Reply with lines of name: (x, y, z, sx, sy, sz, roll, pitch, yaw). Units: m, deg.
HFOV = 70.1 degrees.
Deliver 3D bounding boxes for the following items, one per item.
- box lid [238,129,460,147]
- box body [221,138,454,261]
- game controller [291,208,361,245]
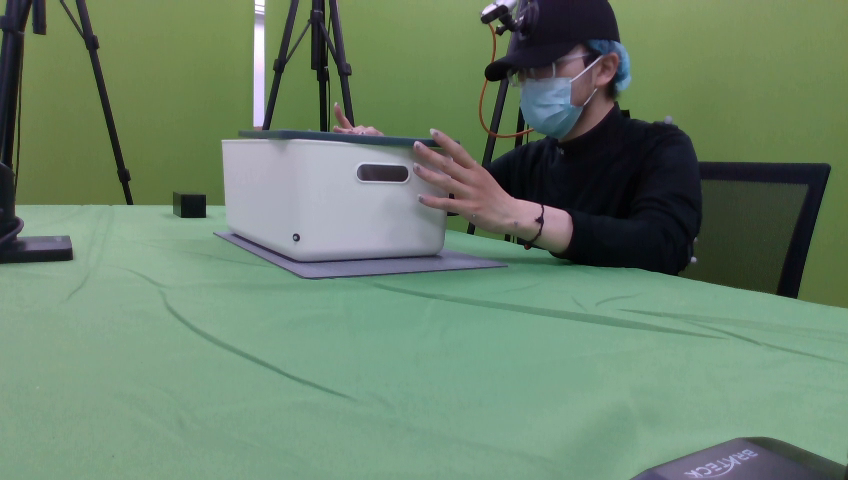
box lid: (-0.133, -0.160, 0.951, 0.264, 0.015, 0.369, -2, 10, -26)
box body: (-0.152, -0.074, 0.963, 0.255, 0.160, 0.362, -3, 9, -33)
game controller: (-0.161, -0.023, 0.967, 0.097, 0.051, 0.154, -4, 9, -15)
